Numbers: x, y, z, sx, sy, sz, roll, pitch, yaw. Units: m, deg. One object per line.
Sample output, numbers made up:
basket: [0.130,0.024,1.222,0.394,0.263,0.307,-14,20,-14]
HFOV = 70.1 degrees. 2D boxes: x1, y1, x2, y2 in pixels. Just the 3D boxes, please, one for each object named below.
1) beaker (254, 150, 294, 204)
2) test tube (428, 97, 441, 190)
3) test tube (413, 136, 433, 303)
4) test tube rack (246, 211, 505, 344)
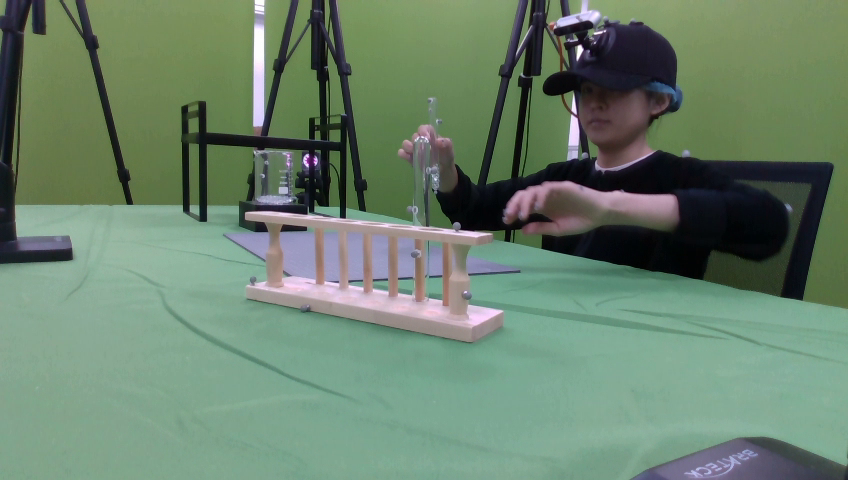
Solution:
beaker: [-0.289,-0.120,1.151,0.073,0.100,0.084,8,9,33]
test tube: [0.017,-0.156,0.988,0.017,0.150,0.017,-2,10,1]
test tube: [-0.001,-0.017,0.538,0.017,0.150,0.017,1,8,0]
test tube rack: [-0.049,0.025,0.547,0.241,0.085,0.067,7,8,29]
